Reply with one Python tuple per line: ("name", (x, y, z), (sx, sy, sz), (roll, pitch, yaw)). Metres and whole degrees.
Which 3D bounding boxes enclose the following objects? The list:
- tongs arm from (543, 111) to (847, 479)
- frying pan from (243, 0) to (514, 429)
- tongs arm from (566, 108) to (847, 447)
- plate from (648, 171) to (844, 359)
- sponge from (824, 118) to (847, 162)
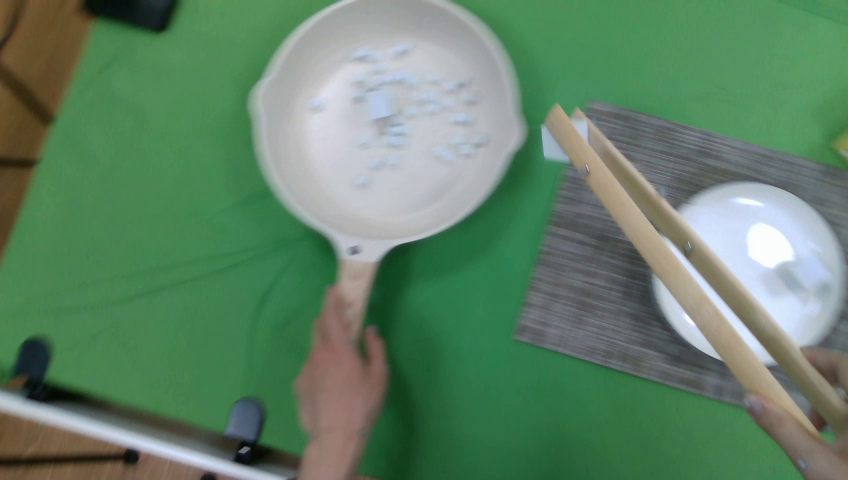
("tongs arm", (0.213, 0.034, 0.498), (0.028, 0.028, 0.384), (-13, 60, -37))
("frying pan", (-0.068, -0.040, 0.679), (0.306, 0.103, 0.485), (9, 75, 4))
("tongs arm", (0.232, 0.029, 0.511), (0.051, 0.026, 0.381), (-20, 64, -36))
("plate", (0.354, 0.028, 0.682), (0.207, 0.039, 0.207), (0, 83, 3))
("sponge", (0.579, -0.084, 0.675), (0.118, 0.061, 0.206), (-40, 82, -4))
